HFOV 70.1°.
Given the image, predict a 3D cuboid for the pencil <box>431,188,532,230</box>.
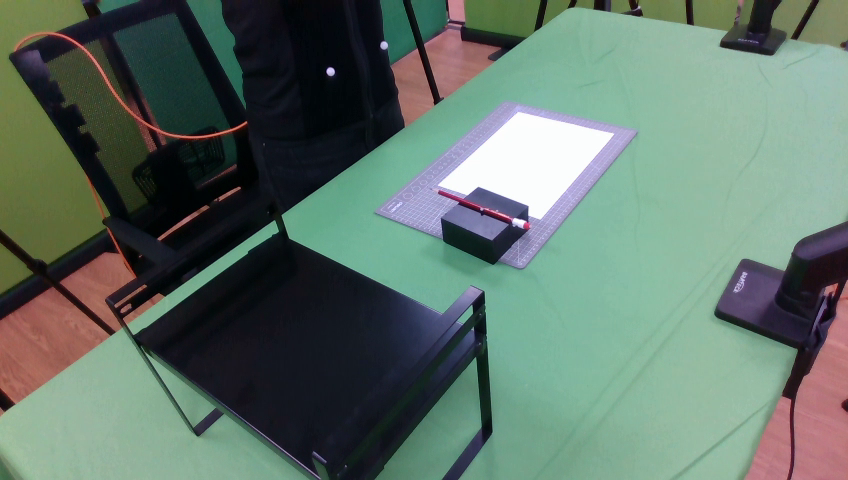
[{"bbox_3d":[0.086,-0.052,0.952,0.192,0.012,0.012,24,50,32],"label":"pencil"}]
